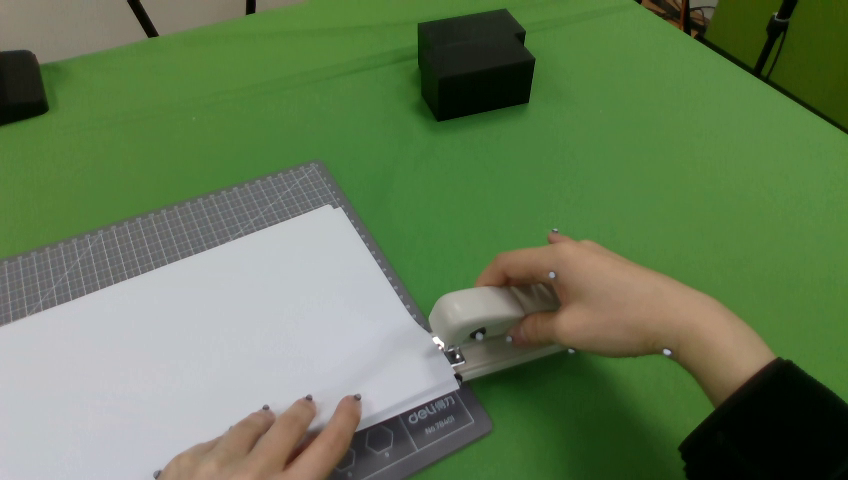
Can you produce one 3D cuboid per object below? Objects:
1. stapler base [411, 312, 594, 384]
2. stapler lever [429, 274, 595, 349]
[{"bbox_3d":[0.056,0.060,0.411,0.131,0.024,0.041,-13,52,-21],"label":"stapler base"},{"bbox_3d":[0.060,0.042,0.394,0.118,0.040,0.026,-13,52,-21],"label":"stapler lever"}]
